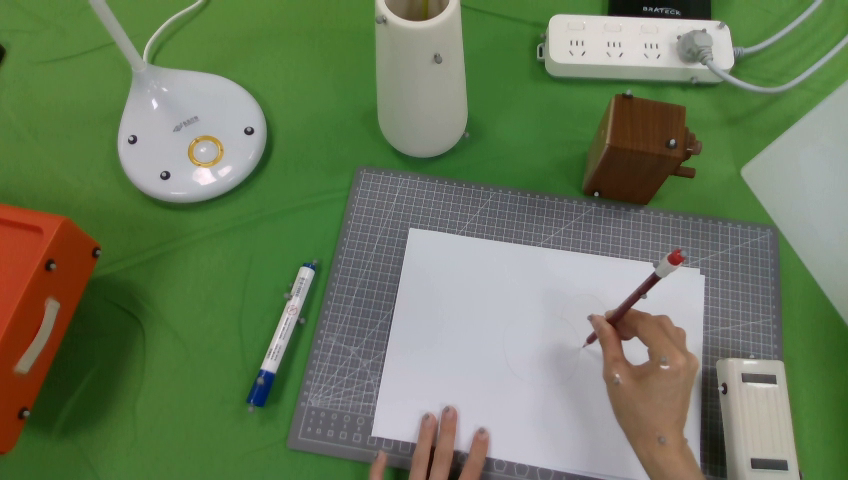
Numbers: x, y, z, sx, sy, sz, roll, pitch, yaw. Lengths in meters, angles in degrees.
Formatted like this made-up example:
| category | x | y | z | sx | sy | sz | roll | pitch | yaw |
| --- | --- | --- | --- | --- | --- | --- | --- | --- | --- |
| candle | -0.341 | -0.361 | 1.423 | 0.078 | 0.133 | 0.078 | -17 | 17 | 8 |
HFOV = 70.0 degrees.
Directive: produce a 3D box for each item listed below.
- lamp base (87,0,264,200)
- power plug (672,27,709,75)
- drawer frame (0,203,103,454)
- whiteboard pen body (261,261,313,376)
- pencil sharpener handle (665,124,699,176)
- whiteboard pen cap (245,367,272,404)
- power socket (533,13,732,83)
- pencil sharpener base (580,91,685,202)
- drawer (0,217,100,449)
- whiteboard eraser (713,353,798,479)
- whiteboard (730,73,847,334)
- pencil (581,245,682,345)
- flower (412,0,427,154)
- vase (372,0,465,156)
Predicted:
| category | x | y | z | sx | sy | sz | roll | pitch | yaw |
| --- | --- | --- | --- | --- | --- | --- | --- | --- | --- |
| lamp base | -0.267 | -0.153 | 0.600 | 0.178 | 0.181 | 0.160 | 41 | 73 | 18 |
| power plug | 0.291 | -0.202 | 0.669 | 0.035 | 0.053 | 0.072 | 13 | 70 | 6 |
| drawer frame | -0.433 | 0.060 | 0.525 | 0.213 | 0.083 | 0.200 | 12 | 69 | 3 |
| whiteboard pen body | -0.136 | 0.084 | 0.589 | 0.017 | 0.017 | 0.140 | 13 | 65 | 6 |
| pencil sharpener handle | 0.258 | -0.085 | 0.595 | 0.030 | 0.068 | 0.036 | 11 | 67 | 5 |
| whiteboard pen cap | -0.153 | 0.135 | 0.565 | 0.018 | 0.018 | 0.033 | 13 | 63 | 6 |
| power socket | 0.242 | -0.223 | 0.703 | 0.227 | 0.033 | 0.071 | 3 | 69 | 1 |
| pencil sharpener base | 0.208 | -0.090 | 0.610 | 0.076 | 0.108 | 0.061 | 11 | 68 | 5 |
| drawer | -0.427 | 0.059 | 0.523 | 0.211 | 0.074 | 0.193 | 11 | 70 | 5 |
| whiteboard eraser | 0.294 | 0.159 | 0.543 | 0.055 | 0.042 | 0.112 | 4 | 68 | 0 |
| whiteboard | 0.481 | -0.076 | 0.529 | 0.144 | 0.307 | 0.215 | -14 | 67 | -25 |
| pencil | 0.164 | 0.054 | 0.502 | 0.012 | 0.195 | 0.012 | 3 | 61 | -5 |
| flower | 0.001 | -0.214 | 0.524 | 0.038 | 0.365 | 0.043 | -3 | 50 | -8 |
| vase | -0.008 | -0.167 | 0.594 | 0.098 | 0.201 | 0.097 | -1 | 67 | 2 |
